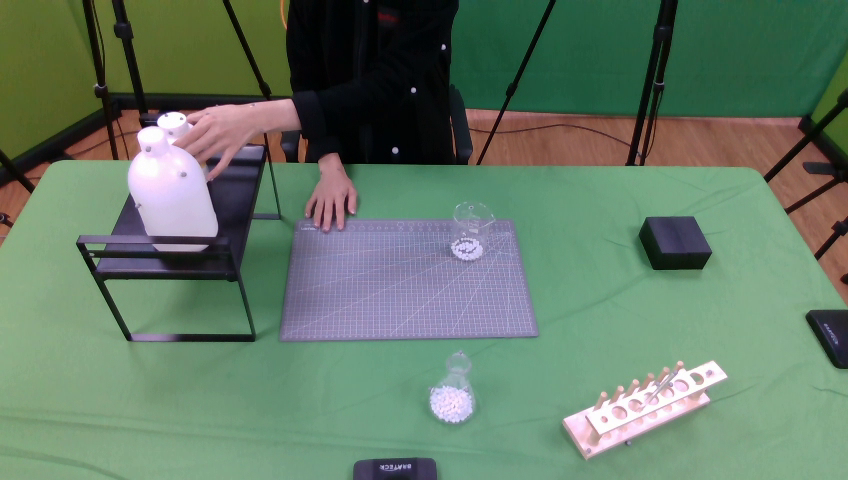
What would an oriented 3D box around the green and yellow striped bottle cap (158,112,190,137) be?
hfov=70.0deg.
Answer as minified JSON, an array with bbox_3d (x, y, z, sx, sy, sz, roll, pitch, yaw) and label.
[{"bbox_3d":[-0.393,-0.181,0.950,0.045,0.020,0.045,1,44,-1],"label":"green and yellow striped bottle cap"}]

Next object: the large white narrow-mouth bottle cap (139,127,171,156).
[{"bbox_3d":[-0.358,-0.132,0.807,0.038,0.024,0.037,3,47,-3],"label":"large white narrow-mouth bottle cap"}]

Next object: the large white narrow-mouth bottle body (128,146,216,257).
[{"bbox_3d":[-0.365,-0.072,0.872,0.102,0.195,0.101,3,47,-3],"label":"large white narrow-mouth bottle body"}]

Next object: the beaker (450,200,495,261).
[{"bbox_3d":[0.089,-0.014,1.161,0.084,0.101,0.073,9,47,3],"label":"beaker"}]

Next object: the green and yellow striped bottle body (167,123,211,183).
[{"bbox_3d":[-0.394,-0.145,0.988,0.063,0.120,0.063,1,46,-1],"label":"green and yellow striped bottle body"}]

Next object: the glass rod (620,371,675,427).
[{"bbox_3d":[0.316,0.230,0.863,0.008,0.200,0.008,3,54,-3],"label":"glass rod"}]

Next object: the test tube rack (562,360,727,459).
[{"bbox_3d":[0.341,0.247,0.940,0.243,0.085,0.066,-16,49,-18],"label":"test tube rack"}]

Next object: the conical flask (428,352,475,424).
[{"bbox_3d":[0.046,0.220,0.920,0.075,0.122,0.075,2,46,-2],"label":"conical flask"}]
